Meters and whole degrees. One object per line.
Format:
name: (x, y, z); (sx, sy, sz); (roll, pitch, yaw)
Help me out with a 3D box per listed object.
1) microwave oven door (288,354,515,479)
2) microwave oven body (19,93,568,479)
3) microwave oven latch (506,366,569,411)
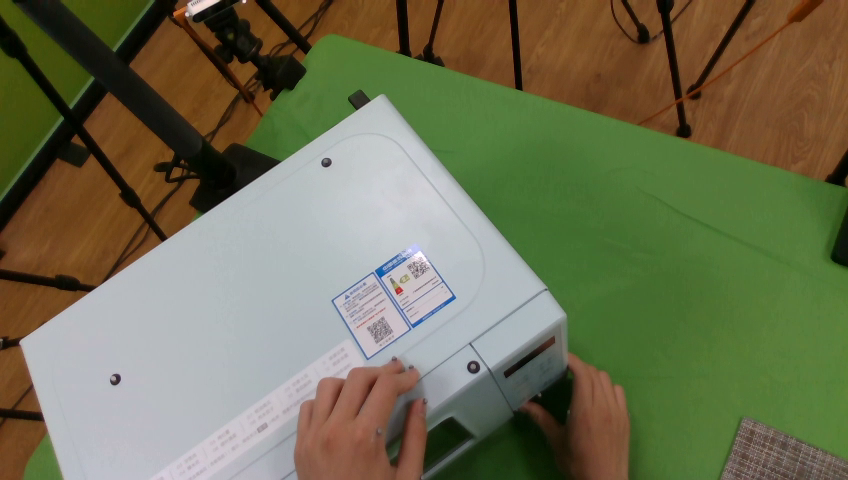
microwave oven door: (-0.075, 0.243, 0.581); (0.356, 0.246, 0.039); (-35, 62, -4)
microwave oven body: (-0.119, 0.118, 0.653); (0.441, 0.262, 0.323); (-36, 64, -3)
microwave oven latch: (0.127, 0.160, 0.686); (0.079, 0.030, 0.030); (-35, 64, -3)
